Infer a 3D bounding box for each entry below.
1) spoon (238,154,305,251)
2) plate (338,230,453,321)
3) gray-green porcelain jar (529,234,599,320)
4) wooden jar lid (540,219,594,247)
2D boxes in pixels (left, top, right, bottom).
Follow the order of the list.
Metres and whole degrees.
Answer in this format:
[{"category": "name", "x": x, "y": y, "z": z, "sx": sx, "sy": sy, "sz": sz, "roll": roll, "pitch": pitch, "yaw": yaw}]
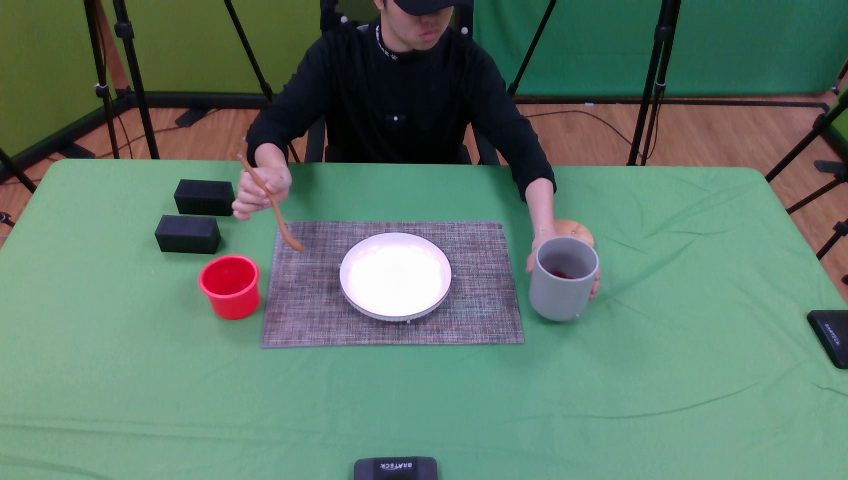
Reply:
[{"category": "spoon", "x": -0.248, "y": -0.058, "z": 0.990, "sx": 0.021, "sy": 0.194, "sz": 0.041, "roll": -26, "pitch": 26, "yaw": -5}, {"category": "plate", "x": -0.051, "y": 0.068, "z": 1.111, "sx": 0.208, "sy": 0.039, "sz": 0.206, "roll": 2, "pitch": 46, "yaw": -2}, {"category": "gray-green porcelain jar", "x": 0.239, "y": 0.069, "z": 1.053, "sx": 0.106, "sy": 0.127, "sz": 0.105, "roll": -1, "pitch": 47, "yaw": 1}, {"category": "wooden jar lid", "x": 0.287, "y": 0.001, "z": 1.218, "sx": 0.108, "sy": 0.021, "sz": 0.107, "roll": 1, "pitch": 46, "yaw": -1}]
